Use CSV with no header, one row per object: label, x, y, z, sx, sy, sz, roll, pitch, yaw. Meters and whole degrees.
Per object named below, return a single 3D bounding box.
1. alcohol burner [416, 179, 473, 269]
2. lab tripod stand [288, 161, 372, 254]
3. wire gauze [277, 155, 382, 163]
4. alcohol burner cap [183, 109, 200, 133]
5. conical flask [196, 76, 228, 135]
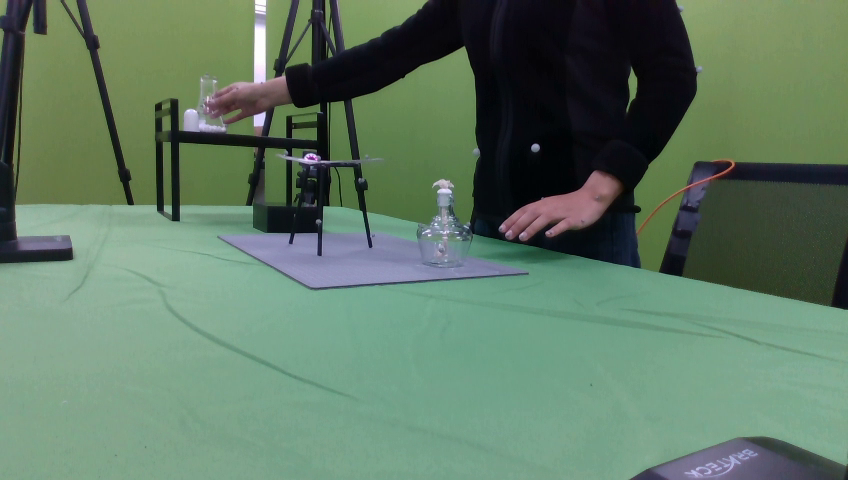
alcohol burner,0.028,-0.022,0.816,0.078,0.119,0.078,0,7,0
lab tripod stand,-0.148,-0.052,0.908,0.148,0.131,0.148,1,8,0
wire gauze,-0.142,-0.118,0.899,0.122,0.011,0.124,-3,8,-36
alcohol burner cap,-0.472,-0.241,1.229,0.034,0.048,0.034,4,8,0
conical flask,-0.465,-0.291,1.310,0.075,0.122,0.075,2,7,0
